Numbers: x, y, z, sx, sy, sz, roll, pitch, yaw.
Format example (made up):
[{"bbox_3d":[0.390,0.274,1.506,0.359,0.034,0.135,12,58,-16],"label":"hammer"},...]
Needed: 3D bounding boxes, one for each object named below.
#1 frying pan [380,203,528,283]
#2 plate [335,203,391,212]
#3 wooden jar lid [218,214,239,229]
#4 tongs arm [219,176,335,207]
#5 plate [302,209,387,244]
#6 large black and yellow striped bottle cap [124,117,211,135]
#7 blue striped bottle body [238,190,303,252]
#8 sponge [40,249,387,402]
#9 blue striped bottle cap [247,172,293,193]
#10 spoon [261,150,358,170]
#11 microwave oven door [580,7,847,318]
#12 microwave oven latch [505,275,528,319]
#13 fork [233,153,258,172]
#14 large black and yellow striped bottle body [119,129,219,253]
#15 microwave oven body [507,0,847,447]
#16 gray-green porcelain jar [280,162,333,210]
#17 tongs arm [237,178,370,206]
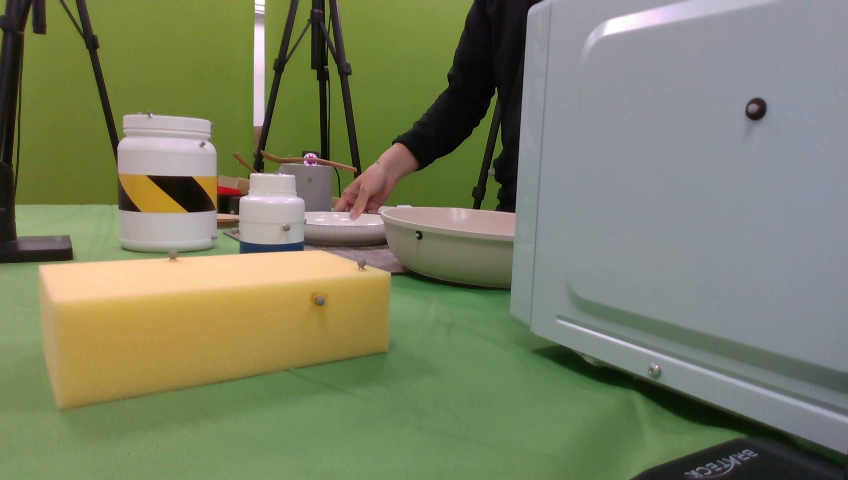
[{"bbox_3d":[0.188,-0.014,0.809,0.489,0.102,0.306,-7,11,-13],"label":"frying pan"},{"bbox_3d":[-0.089,-0.053,1.309,0.208,0.039,0.207,2,8,0],"label":"plate"},{"bbox_3d":[-0.404,-0.037,1.169,0.108,0.020,0.108,3,7,0],"label":"wooden jar lid"},{"bbox_3d":[-0.286,-0.104,1.445,0.389,0.027,0.028,9,-4,-23],"label":"tongs arm"},{"bbox_3d":[-0.139,-0.024,1.021,0.209,0.038,0.209,2,9,0],"label":"plate"},{"bbox_3d":[-0.366,-0.163,0.866,0.115,0.019,0.115,3,7,0],"label":"large black and yellow striped bottle cap"},{"bbox_3d":[-0.153,-0.007,0.606,0.063,0.120,0.063,2,8,0],"label":"blue striped bottle body"},{"bbox_3d":[-0.142,0.047,0.420,0.208,0.061,0.117,-3,8,-36],"label":"sponge"},{"bbox_3d":[-0.152,-0.057,0.598,0.044,0.020,0.044,3,6,0],"label":"blue striped bottle cap"},{"bbox_3d":[-0.229,-0.162,1.222,0.194,0.021,0.041,3,3,-16],"label":"spoon"},{"bbox_3d":[0.295,-0.067,0.570,0.358,0.243,0.039,-3,8,-31],"label":"microwave oven door"},{"bbox_3d":[0.100,0.041,0.471,0.079,0.029,0.030,-1,7,-28],"label":"microwave oven latch"},{"bbox_3d":[-0.396,-0.143,1.486,0.028,0.018,0.208,21,-25,45],"label":"fork"},{"bbox_3d":[-0.367,-0.080,0.876,0.131,0.184,0.130,2,7,0],"label":"large black and yellow striped bottle body"},{"bbox_3d":[0.331,-0.042,0.425,0.444,0.260,0.324,-2,8,-31],"label":"microwave oven body"},{"bbox_3d":[-0.238,-0.092,1.221,0.106,0.126,0.106,2,8,0],"label":"gray-green porcelain jar"},{"bbox_3d":[-0.242,-0.095,1.374,0.387,0.026,0.050,9,0,-37],"label":"tongs arm"}]
